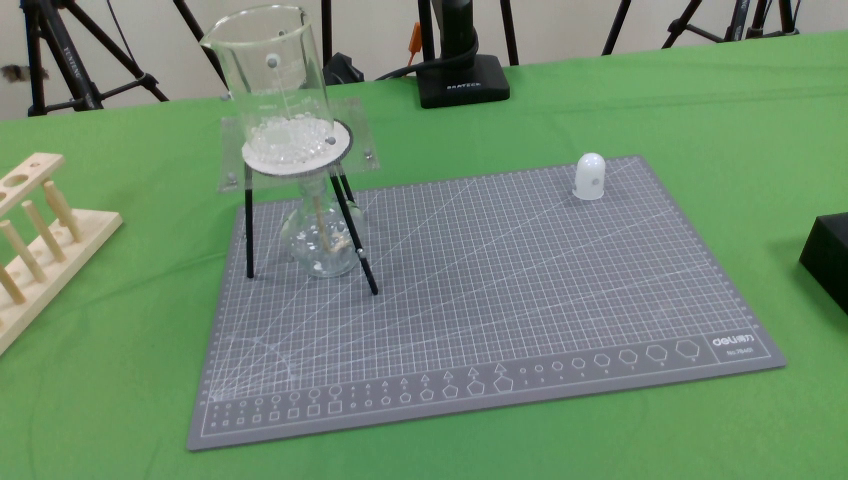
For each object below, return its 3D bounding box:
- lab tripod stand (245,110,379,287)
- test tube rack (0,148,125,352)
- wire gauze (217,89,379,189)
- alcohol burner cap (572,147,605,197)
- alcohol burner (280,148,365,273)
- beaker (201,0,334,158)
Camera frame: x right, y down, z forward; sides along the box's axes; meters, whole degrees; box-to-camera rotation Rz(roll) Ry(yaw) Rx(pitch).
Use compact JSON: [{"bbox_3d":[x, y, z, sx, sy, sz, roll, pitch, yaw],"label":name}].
[{"bbox_3d":[-0.100,-0.035,0.538,0.148,0.133,0.147,-4,43,4],"label":"lab tripod stand"},{"bbox_3d":[-0.386,0.019,0.549,0.066,0.086,0.240,6,42,12],"label":"test tube rack"},{"bbox_3d":[-0.105,-0.084,0.494,0.125,0.011,0.120,-13,40,-4],"label":"wire gauze"},{"bbox_3d":[0.170,-0.072,0.620,0.034,0.048,0.033,-4,41,3],"label":"alcohol burner cap"},{"bbox_3d":[-0.094,-0.029,0.546,0.078,0.120,0.077,-4,39,4],"label":"alcohol burner"},{"bbox_3d":[-0.113,-0.120,0.462,0.084,0.101,0.073,-12,41,-5],"label":"beaker"}]
